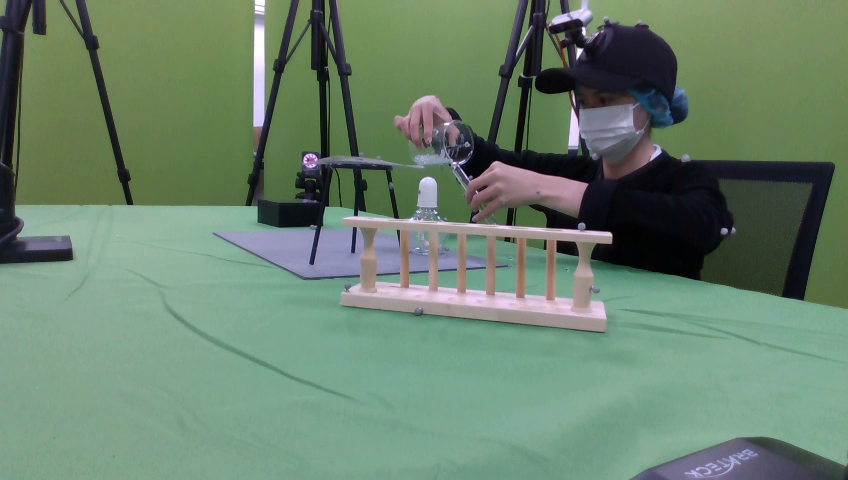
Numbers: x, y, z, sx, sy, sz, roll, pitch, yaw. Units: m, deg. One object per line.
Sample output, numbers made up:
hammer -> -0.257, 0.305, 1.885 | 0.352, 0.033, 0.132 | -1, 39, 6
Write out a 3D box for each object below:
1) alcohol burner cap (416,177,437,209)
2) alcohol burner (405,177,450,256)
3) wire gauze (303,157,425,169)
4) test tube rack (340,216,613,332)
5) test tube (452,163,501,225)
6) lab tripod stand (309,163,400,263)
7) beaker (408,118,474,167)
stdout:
alcohol burner cap -> 0.005, -0.072, 0.914 | 0.034, 0.048, 0.034 | 4, 10, 0
alcohol burner -> 0.004, -0.036, 0.917 | 0.078, 0.119, 0.078 | 3, 6, 0
wire gauze -> -0.082, -0.102, 0.799 | 0.126, 0.011, 0.121 | -1, 7, -30
test tube rack -> 0.048, 0.026, 0.568 | 0.242, 0.085, 0.067 | 4, 7, 13
test tube -> 0.085, -0.071, 0.984 | 0.017, 0.017, 0.149 | -3, 49, -36
lab tripod stand -> -0.091, -0.037, 0.813 | 0.148, 0.131, 0.148 | 1, 6, 0
beaker -> 0.026, -0.165, 1.056 | 0.074, 0.084, 0.100 | 10, -5, -42
